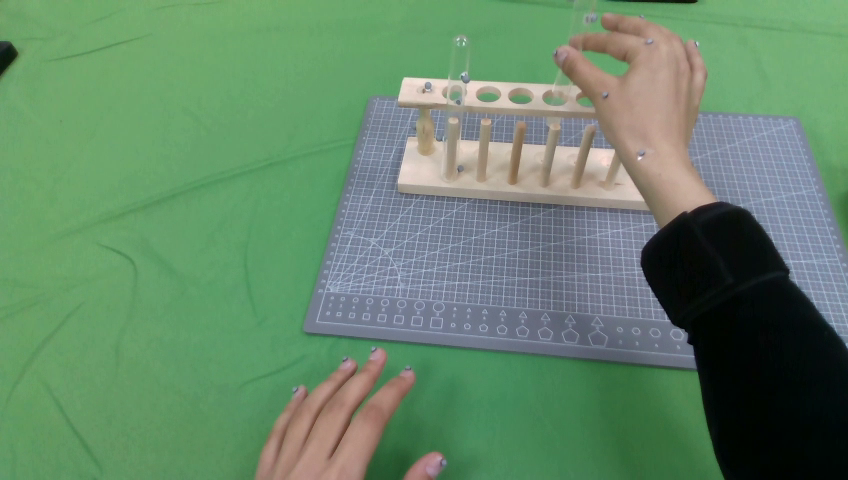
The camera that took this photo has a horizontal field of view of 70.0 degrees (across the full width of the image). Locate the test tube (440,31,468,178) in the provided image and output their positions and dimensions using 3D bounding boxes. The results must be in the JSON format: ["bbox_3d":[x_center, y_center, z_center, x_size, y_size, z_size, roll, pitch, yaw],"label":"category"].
[{"bbox_3d":[0.024,-0.108,0.511,0.017,0.152,0.017,1,52,-1],"label":"test tube"}]

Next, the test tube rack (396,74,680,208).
[{"bbox_3d":[0.096,-0.090,0.550,0.242,0.086,0.066,5,53,6],"label":"test tube rack"}]

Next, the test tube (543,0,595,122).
[{"bbox_3d":[0.116,-0.149,0.487,0.017,0.151,0.017,1,58,-1],"label":"test tube"}]
